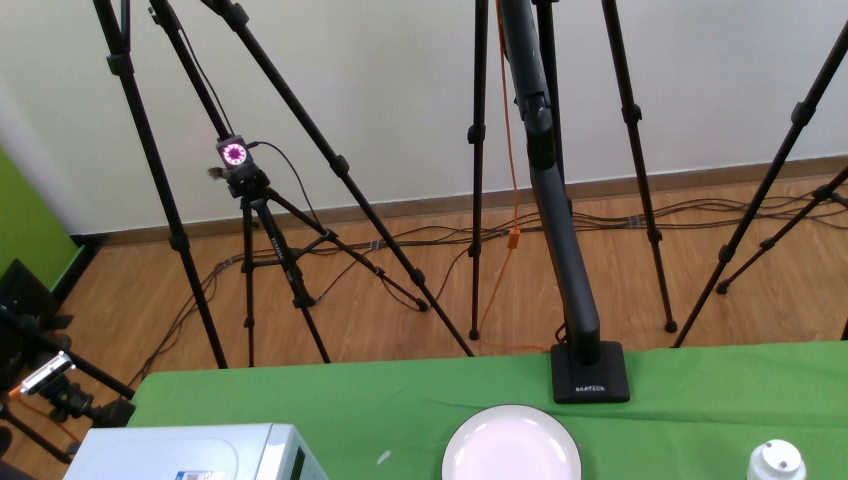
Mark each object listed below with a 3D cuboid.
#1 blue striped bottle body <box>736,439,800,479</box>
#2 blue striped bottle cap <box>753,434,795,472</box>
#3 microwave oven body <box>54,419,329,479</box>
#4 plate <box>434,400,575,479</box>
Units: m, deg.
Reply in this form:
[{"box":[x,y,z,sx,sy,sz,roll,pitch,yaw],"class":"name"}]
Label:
[{"box":[0.444,0.301,0.784,0.063,0.122,0.062,-9,42,8],"class":"blue striped bottle body"},{"box":[0.434,0.264,0.750,0.044,0.021,0.044,-9,44,9],"class":"blue striped bottle cap"},{"box":[-0.320,0.474,0.719,0.325,0.263,0.437,-5,43,11],"class":"microwave oven body"},{"box":[0.120,0.339,0.907,0.207,0.039,0.205,-8,42,8],"class":"plate"}]
